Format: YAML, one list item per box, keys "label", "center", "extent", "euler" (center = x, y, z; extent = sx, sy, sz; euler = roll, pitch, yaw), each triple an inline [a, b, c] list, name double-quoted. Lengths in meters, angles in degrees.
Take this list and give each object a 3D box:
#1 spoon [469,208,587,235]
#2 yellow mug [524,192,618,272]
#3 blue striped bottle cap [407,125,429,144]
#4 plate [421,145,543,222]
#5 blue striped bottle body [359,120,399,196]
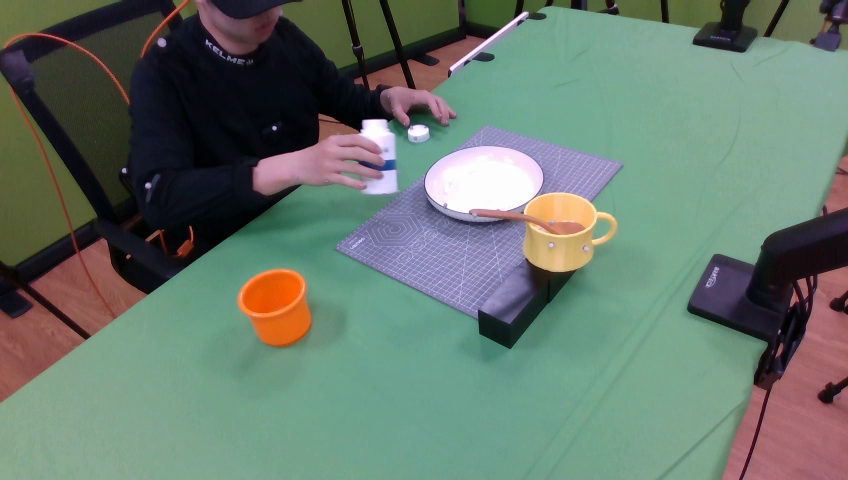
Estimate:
- label: "spoon"
  center: [0.143, -0.026, 0.817]
  extent: [0.195, 0.021, 0.041]
  euler: [12, 35, -29]
- label: "yellow mug"
  center: [0.206, -0.014, 0.845]
  extent: [0.131, 0.064, 0.099]
  euler: [-4, 41, 2]
- label: "blue striped bottle cap"
  center: [-0.012, -0.215, 1.228]
  extent: [0.044, 0.021, 0.044]
  euler: [-4, 39, 4]
- label: "plate"
  center: [0.101, -0.094, 1.048]
  extent: [0.207, 0.039, 0.206]
  euler: [-4, 41, 4]
- label: "blue striped bottle body"
  center: [-0.074, -0.134, 0.985]
  extent: [0.063, 0.121, 0.063]
  euler: [-1, 9, 1]
